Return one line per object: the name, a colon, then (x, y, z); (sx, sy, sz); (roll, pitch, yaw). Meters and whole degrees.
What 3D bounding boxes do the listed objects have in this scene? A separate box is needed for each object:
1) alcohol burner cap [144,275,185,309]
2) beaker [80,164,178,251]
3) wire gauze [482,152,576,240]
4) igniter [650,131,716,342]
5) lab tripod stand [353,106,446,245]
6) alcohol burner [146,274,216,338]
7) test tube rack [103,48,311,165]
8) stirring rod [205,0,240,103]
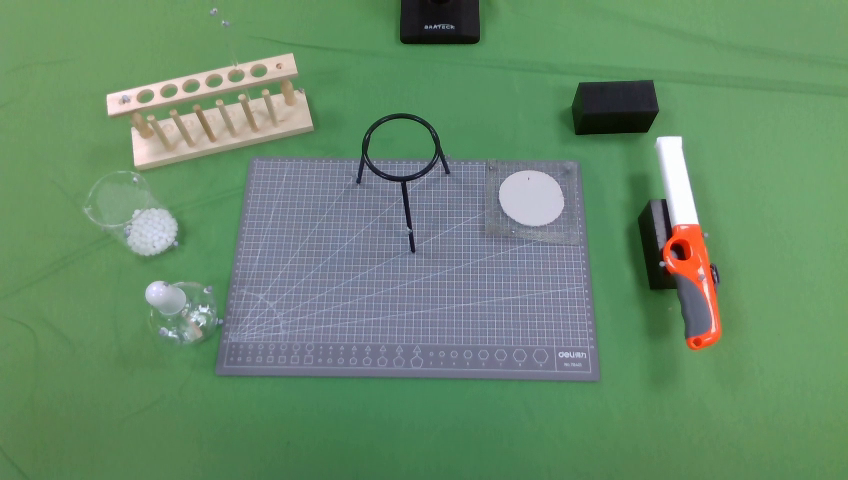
alcohol burner cap: (-0.285, 0.054, 0.657); (0.034, 0.048, 0.033); (0, 69, 0)
beaker: (-0.357, -0.034, 0.743); (0.084, 0.101, 0.073); (-12, 66, -4)
wire gauze: (0.139, -0.062, 0.798); (0.125, 0.011, 0.120); (6, 66, 0)
igniter: (0.304, -0.013, 0.717); (0.057, 0.025, 0.274); (-1, 64, 4)
lab tripod stand: (-0.027, -0.085, 0.741); (0.148, 0.132, 0.147); (1, 67, -1)
alcohol burner: (-0.283, 0.069, 0.690); (0.078, 0.120, 0.077); (0, 64, 0)
test tube rack: (-0.284, -0.177, 0.812); (0.242, 0.086, 0.066); (-15, 67, -6)
stirring rod: (-0.249, -0.239, 0.752); (0.014, 0.177, 0.005); (8, 54, 3)
